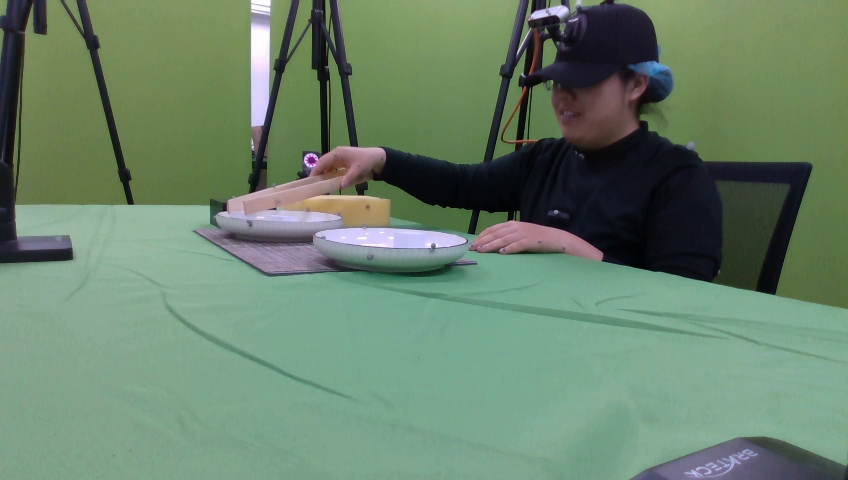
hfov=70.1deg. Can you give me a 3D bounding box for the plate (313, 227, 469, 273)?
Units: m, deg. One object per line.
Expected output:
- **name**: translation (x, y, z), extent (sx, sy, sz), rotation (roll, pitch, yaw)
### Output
- **plate**: translation (-0.044, 0.012, 0.807), extent (0.209, 0.038, 0.209), rotation (2, 7, 0)

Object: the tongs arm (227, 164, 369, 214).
- **tongs arm**: translation (-0.219, -0.102, 1.147), extent (0.050, 0.026, 0.386), rotation (5, 18, 24)

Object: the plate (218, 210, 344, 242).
- **plate**: translation (-0.241, -0.024, 1.026), extent (0.208, 0.039, 0.207), rotation (3, 7, 0)

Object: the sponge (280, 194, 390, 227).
- **sponge**: translation (-0.188, -0.063, 1.291), extent (0.208, 0.061, 0.117), rotation (-2, 9, -35)

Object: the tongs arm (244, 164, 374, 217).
- **tongs arm**: translation (-0.197, -0.099, 1.135), extent (0.028, 0.028, 0.389), rotation (3, 16, 29)
